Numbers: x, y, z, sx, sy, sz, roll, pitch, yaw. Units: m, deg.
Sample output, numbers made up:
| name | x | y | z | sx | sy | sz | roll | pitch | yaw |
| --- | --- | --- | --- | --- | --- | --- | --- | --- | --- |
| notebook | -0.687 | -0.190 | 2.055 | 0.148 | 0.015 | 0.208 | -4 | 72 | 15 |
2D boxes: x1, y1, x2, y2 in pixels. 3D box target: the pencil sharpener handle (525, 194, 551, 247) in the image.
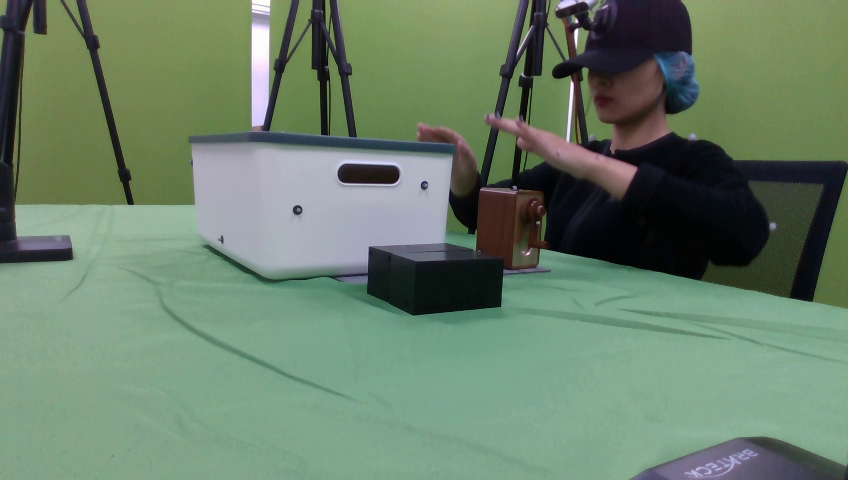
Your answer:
| name | x | y | z | sx | sy | sz | roll | pitch | yaw |
| --- | --- | --- | --- | --- | --- | --- | --- | --- | --- |
| pencil sharpener handle | 0.153 | -0.025 | 0.784 | 0.036 | 0.067 | 0.030 | 0 | 8 | -41 |

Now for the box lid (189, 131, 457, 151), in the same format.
| name | x | y | z | sx | sy | sz | roll | pitch | yaw |
| --- | --- | --- | --- | --- | --- | --- | --- | --- | --- |
| box lid | -0.153 | -0.132 | 0.826 | 0.265 | 0.015 | 0.369 | -3 | 9 | -32 |

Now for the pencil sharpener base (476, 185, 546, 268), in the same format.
| name | x | y | z | sx | sy | sz | roll | pitch | yaw |
| --- | --- | --- | --- | --- | --- | --- | --- | --- | --- |
| pencil sharpener base | 0.120 | -0.019 | 0.825 | 0.062 | 0.107 | 0.076 | -3 | 10 | -40 |

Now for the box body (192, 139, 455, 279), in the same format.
| name | x | y | z | sx | sy | sz | roll | pitch | yaw |
| --- | --- | --- | --- | --- | --- | --- | --- | --- | --- |
| box body | -0.157 | -0.058 | 0.837 | 0.255 | 0.160 | 0.362 | -2 | 8 | -32 |
